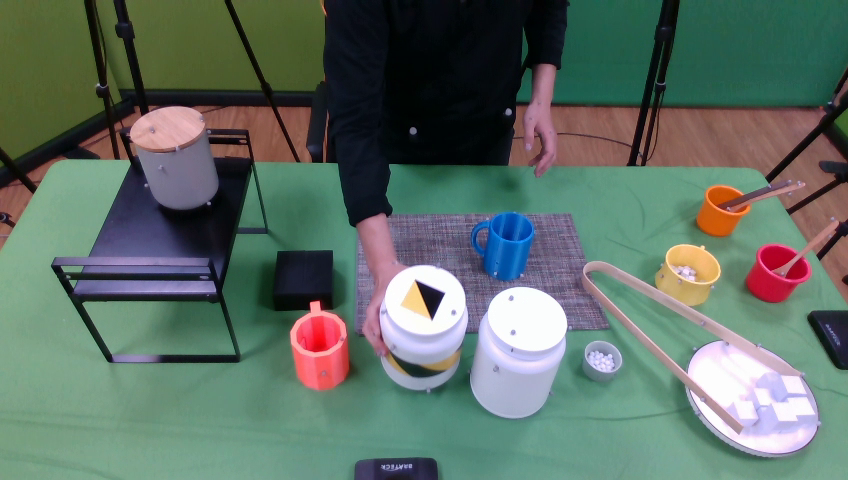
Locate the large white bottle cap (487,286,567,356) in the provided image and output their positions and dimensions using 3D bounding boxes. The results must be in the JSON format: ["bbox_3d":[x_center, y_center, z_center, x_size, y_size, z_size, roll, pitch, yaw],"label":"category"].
[{"bbox_3d":[0.147,0.114,0.869,0.115,0.018,0.114,3,46,-3],"label":"large white bottle cap"}]

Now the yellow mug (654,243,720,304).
[{"bbox_3d":[0.504,0.054,1.154,0.099,0.064,0.130,28,50,22],"label":"yellow mug"}]

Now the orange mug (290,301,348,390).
[{"bbox_3d":[-0.170,0.162,0.976,0.083,0.101,0.125,-7,52,-11],"label":"orange mug"}]

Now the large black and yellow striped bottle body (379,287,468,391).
[{"bbox_3d":[-0.003,0.137,0.922,0.131,0.185,0.130,2,54,-2],"label":"large black and yellow striped bottle body"}]

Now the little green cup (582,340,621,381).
[{"bbox_3d":[0.295,0.204,1.015,0.061,0.039,0.061,2,45,-2],"label":"little green cup"}]

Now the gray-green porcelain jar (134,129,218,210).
[{"bbox_3d":[-0.388,-0.120,0.960,0.106,0.127,0.105,2,46,-2],"label":"gray-green porcelain jar"}]

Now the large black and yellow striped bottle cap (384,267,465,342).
[{"bbox_3d":[0.001,0.089,0.853,0.115,0.019,0.114,1,55,-1],"label":"large black and yellow striped bottle cap"}]

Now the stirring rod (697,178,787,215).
[{"bbox_3d":[0.650,-0.088,1.246,0.006,0.176,0.014,29,50,-39],"label":"stirring rod"}]

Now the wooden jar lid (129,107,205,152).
[{"bbox_3d":[-0.385,-0.163,0.915,0.108,0.021,0.107,2,47,-2],"label":"wooden jar lid"}]

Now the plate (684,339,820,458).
[{"bbox_3d":[0.523,0.256,0.982,0.208,0.039,0.206,2,46,-2],"label":"plate"}]

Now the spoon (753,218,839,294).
[{"bbox_3d":[0.700,0.031,1.138,0.194,0.022,0.041,-47,55,14],"label":"spoon"}]

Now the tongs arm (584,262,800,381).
[{"bbox_3d":[0.452,0.137,1.064,0.051,0.027,0.382,-34,50,-26],"label":"tongs arm"}]

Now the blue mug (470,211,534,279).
[{"bbox_3d":[0.141,0.005,1.140,0.116,0.106,0.082,18,48,13],"label":"blue mug"}]

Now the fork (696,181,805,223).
[{"bbox_3d":[0.659,-0.077,1.232,0.207,0.019,0.028,-26,35,34],"label":"fork"}]

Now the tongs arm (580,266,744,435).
[{"bbox_3d":[0.384,0.174,1.029,0.028,0.028,0.385,-25,46,-14],"label":"tongs arm"}]

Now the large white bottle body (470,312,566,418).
[{"bbox_3d":[0.143,0.173,0.930,0.131,0.185,0.130,2,46,-2],"label":"large white bottle body"}]
